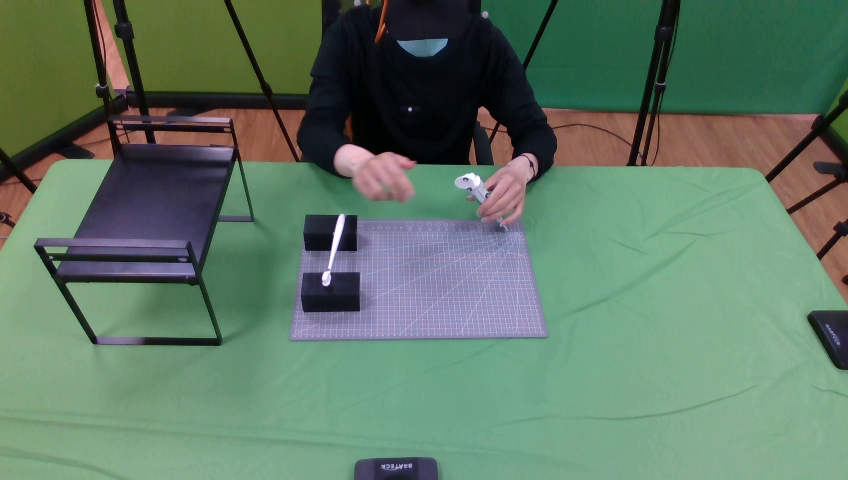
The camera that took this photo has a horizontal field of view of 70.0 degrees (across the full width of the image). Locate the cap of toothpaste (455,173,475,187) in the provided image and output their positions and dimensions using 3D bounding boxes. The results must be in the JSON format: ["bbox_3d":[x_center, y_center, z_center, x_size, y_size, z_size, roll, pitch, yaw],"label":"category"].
[{"bbox_3d":[0.076,-0.111,1.114,0.037,0.037,0.011,3,60,-1],"label":"cap of toothpaste"}]

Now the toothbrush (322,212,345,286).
[{"bbox_3d":[-0.164,0.011,1.101,0.014,0.017,0.181,-6,44,12],"label":"toothbrush"}]

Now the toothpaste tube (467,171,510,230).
[{"bbox_3d":[0.124,-0.079,1.185,0.034,0.166,0.054,-33,45,13],"label":"toothpaste tube"}]
